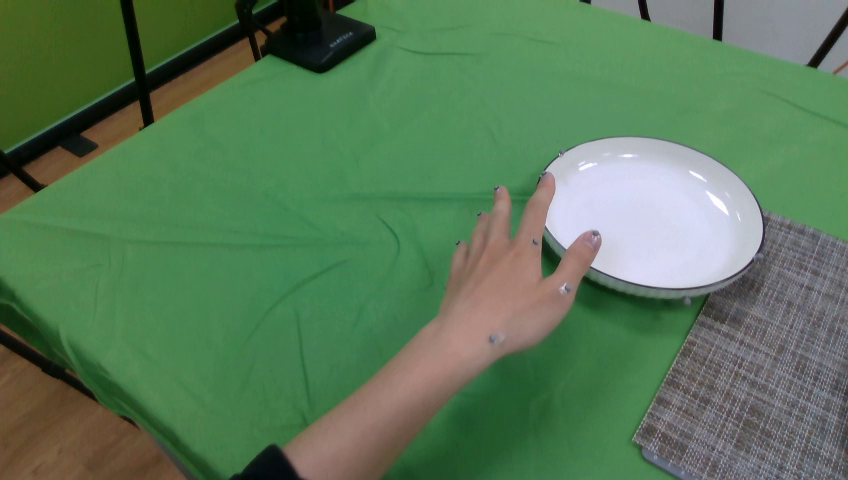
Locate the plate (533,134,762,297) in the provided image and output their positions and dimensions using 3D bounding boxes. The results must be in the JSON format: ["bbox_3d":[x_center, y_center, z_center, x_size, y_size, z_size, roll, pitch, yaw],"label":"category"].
[{"bbox_3d":[0.208,-0.025,0.583,0.209,0.038,0.207,-1,47,2],"label":"plate"}]
